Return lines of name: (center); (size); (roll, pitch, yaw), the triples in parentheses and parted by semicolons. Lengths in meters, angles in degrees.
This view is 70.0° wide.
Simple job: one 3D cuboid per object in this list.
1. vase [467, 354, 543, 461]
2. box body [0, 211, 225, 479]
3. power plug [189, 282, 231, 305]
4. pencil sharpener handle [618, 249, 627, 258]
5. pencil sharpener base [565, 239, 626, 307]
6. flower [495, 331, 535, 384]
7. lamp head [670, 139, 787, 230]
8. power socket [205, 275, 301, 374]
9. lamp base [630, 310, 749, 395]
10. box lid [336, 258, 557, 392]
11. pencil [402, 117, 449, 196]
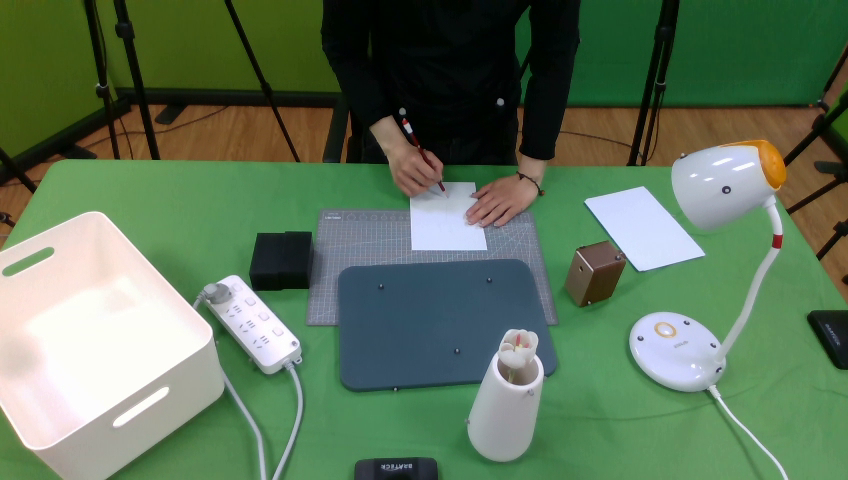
vase: (0.116, 0.234, 0.861); (0.098, 0.201, 0.097); (1, 47, -1)
box body: (-0.504, 0.154, 0.916); (0.362, 0.161, 0.254); (36, 54, 27)
power plug: (-0.368, 0.097, 1.039); (0.072, 0.053, 0.035); (-26, 55, -20)
pencil sharpener handle: (0.359, 0.036, 1.113); (0.031, 0.068, 0.036); (-15, 61, -18)
pencil sharpener base: (0.313, 0.060, 1.104); (0.077, 0.107, 0.061); (-15, 49, -18)
flower: (0.110, 0.187, 0.791); (0.044, 0.363, 0.038); (-32, 65, -10)
lamp head: (0.415, -0.079, 0.812); (0.113, 0.123, 0.112); (13, 70, -37)
power socket: (-0.296, 0.140, 1.035); (0.072, 0.033, 0.225); (-32, 57, -30)
lamp base: (0.447, 0.142, 0.984); (0.161, 0.181, 0.178); (-24, 55, -24)
box lid: (0.030, 0.140, 1.073); (0.372, 0.015, 0.261); (-3, 47, -7)
pencil: (0.006, -0.170, 1.258); (0.012, 0.195, 0.012); (-26, 25, 13)
